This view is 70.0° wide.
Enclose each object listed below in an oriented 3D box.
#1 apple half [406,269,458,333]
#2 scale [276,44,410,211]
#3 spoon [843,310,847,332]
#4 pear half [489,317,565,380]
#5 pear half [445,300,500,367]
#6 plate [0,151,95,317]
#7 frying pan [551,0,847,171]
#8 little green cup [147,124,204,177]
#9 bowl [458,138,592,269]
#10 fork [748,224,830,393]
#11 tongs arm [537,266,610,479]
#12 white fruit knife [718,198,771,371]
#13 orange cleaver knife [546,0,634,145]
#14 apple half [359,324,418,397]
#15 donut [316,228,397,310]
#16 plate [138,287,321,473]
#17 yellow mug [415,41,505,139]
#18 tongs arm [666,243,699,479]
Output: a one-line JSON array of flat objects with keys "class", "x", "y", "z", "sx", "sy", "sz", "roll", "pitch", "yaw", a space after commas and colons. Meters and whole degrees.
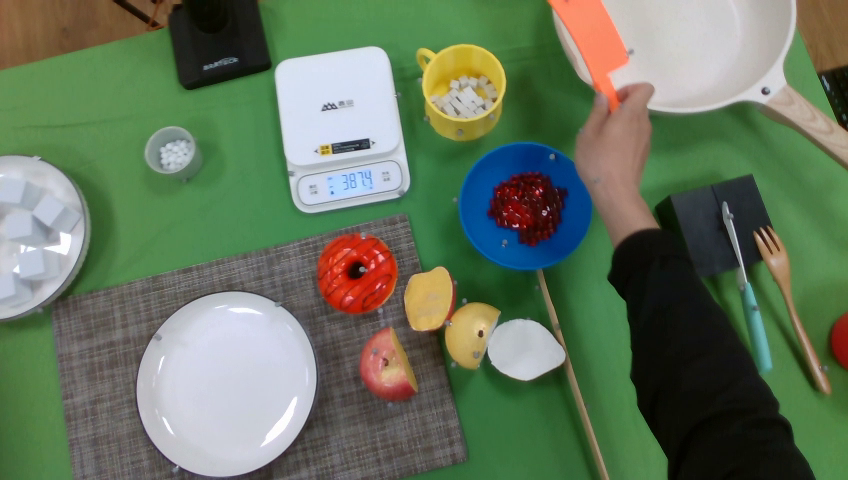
[{"class": "apple half", "x": 0.016, "y": 0.072, "z": 0.715, "sx": 0.081, "sy": 0.033, "sz": 0.081, "roll": 3, "pitch": 95, "yaw": 44}, {"class": "scale", "x": -0.104, "y": -0.144, "z": 0.765, "sx": 0.149, "sy": 0.032, "sz": 0.200, "roll": -10, "pitch": 79, "yaw": 0}, {"class": "spoon", "x": 0.521, "y": 0.138, "z": 0.634, "sx": 0.041, "sy": 0.022, "sz": 0.191, "roll": -19, "pitch": 34, "yaw": -2}, {"class": "pear half", "x": 0.121, "y": 0.128, "z": 0.705, "sx": 0.087, "sy": 0.031, "sz": 0.070, "roll": 9, "pitch": 79, "yaw": 19}, {"class": "pear half", "x": 0.050, "y": 0.099, "z": 0.673, "sx": 0.056, "sy": 0.110, "sz": 0.076, "roll": 18, "pitch": 75, "yaw": 6}, {"class": "plate", "x": -0.505, "y": -0.007, "z": 0.747, "sx": 0.207, "sy": 0.039, "sz": 0.206, "roll": 0, "pitch": 79, "yaw": 2}, {"class": "frying pan", "x": 0.367, "y": -0.214, "z": 0.728, "sx": 0.307, "sy": 0.103, "sz": 0.484, "roll": -40, "pitch": 72, "yaw": -5}, {"class": "little green cup", "x": -0.309, "y": -0.110, "z": 0.761, "sx": 0.061, "sy": 0.039, "sz": 0.061, "roll": 0, "pitch": 78, "yaw": 2}, {"class": "bowl", "x": 0.114, "y": -0.035, "z": 0.714, "sx": 0.151, "sy": 0.077, "sz": 0.150, "roll": 0, "pitch": 80, "yaw": 2}, {"class": "fork", "x": 0.419, "y": 0.079, "z": 0.690, "sx": 0.028, "sy": 0.018, "sz": 0.207, "roll": -24, "pitch": 94, "yaw": -5}, {"class": "tongs arm", "x": 0.204, "y": 0.207, "z": 0.685, "sx": 0.051, "sy": 0.026, "sz": 0.383, "roll": -14, "pitch": 80, "yaw": -4}, {"class": "white fruit knife", "x": 0.362, "y": 0.053, "z": 0.689, "sx": 0.016, "sy": 0.027, "sz": 0.207, "roll": -16, "pitch": 94, "yaw": 0}, {"class": "orange cleaver knife", "x": 0.191, "y": -0.208, "z": 0.662, "sx": 0.077, "sy": 0.012, "sz": 0.211, "roll": -25, "pitch": 91, "yaw": -23}, {"class": "apple half", "x": -0.044, "y": 0.141, "z": 0.682, "sx": 0.053, "sy": 0.075, "sz": 0.080, "roll": -24, "pitch": 83, "yaw": 1}, {"class": "donut", "x": -0.081, "y": 0.034, "z": 0.719, "sx": 0.099, "sy": 0.048, "sz": 0.098, "roll": -1, "pitch": 80, "yaw": 4}, {"class": "plate", "x": -0.220, "y": 0.159, "z": 0.702, "sx": 0.209, "sy": 0.038, "sz": 0.208, "roll": 0, "pitch": 79, "yaw": 2}, {"class": "yellow mug", "x": 0.037, "y": -0.195, "z": 0.753, "sx": 0.130, "sy": 0.064, "sz": 0.100, "roll": 43, "pitch": 83, "yaw": 10}, {"class": "tongs arm", "x": 0.289, "y": 0.194, "z": 0.686, "sx": 0.028, "sy": 0.028, "sz": 0.386, "roll": 1, "pitch": 80, "yaw": -4}]
